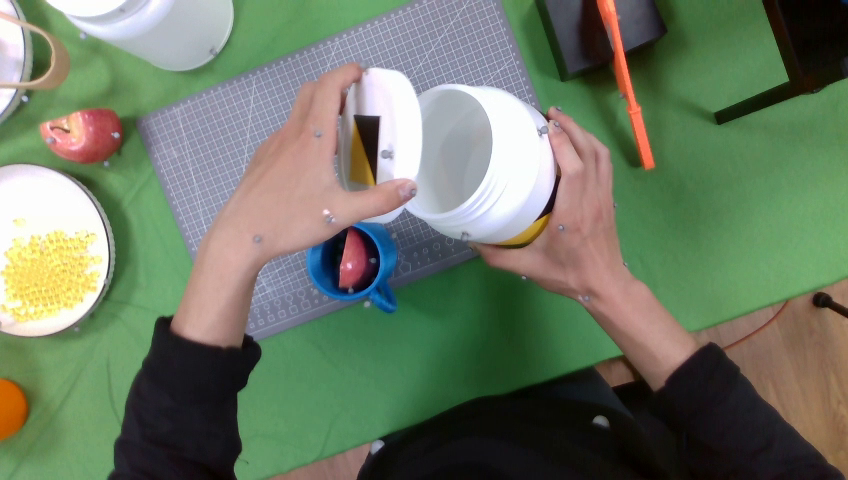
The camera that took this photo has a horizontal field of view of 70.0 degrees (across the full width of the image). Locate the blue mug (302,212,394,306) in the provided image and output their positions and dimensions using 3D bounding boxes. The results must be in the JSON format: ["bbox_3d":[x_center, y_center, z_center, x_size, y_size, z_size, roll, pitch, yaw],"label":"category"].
[{"bbox_3d":[-0.070,0.024,0.667,0.082,0.106,0.116,-36,92,5],"label":"blue mug"}]

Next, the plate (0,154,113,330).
[{"bbox_3d":[-0.469,0.002,0.723,0.209,0.038,0.209,0,95,3],"label":"plate"}]

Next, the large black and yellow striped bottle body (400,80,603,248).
[{"bbox_3d":[0.065,-0.063,0.542,0.130,0.185,0.130,-5,82,38],"label":"large black and yellow striped bottle body"}]

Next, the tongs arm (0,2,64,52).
[{"bbox_3d":[-0.578,-0.293,0.677,0.387,0.028,0.028,22,88,4],"label":"tongs arm"}]

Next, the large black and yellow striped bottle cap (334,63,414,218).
[{"bbox_3d":[-0.041,-0.074,0.456,0.019,0.114,0.115,-2,95,-28],"label":"large black and yellow striped bottle cap"}]

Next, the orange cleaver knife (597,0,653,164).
[{"bbox_3d":[0.212,-0.182,0.650,0.012,0.076,0.213,-19,119,13],"label":"orange cleaver knife"}]

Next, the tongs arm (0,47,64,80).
[{"bbox_3d":[-0.596,-0.211,0.682,0.384,0.026,0.051,8,91,5],"label":"tongs arm"}]

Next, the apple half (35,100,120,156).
[{"bbox_3d":[-0.388,-0.124,0.692,0.081,0.074,0.053,-17,97,1],"label":"apple half"}]

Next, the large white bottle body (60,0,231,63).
[{"bbox_3d":[-0.293,-0.267,0.620,0.130,0.184,0.130,0,93,4],"label":"large white bottle body"}]

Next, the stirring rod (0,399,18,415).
[{"bbox_3d":[-0.568,0.219,0.691,0.177,0.006,0.014,-15,81,-36],"label":"stirring rod"}]

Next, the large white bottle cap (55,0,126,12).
[{"bbox_3d":[-0.299,-0.262,0.535,0.115,0.018,0.115,0,94,4],"label":"large white bottle cap"}]

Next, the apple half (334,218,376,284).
[{"bbox_3d":[-0.069,0.013,0.660,0.032,0.081,0.081,10,95,11],"label":"apple half"}]

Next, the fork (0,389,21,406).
[{"bbox_3d":[-0.583,0.204,0.688,0.208,0.018,0.028,-6,93,-40],"label":"fork"}]

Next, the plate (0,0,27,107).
[{"bbox_3d":[-0.561,-0.234,0.710,0.207,0.039,0.208,0,95,3],"label":"plate"}]
